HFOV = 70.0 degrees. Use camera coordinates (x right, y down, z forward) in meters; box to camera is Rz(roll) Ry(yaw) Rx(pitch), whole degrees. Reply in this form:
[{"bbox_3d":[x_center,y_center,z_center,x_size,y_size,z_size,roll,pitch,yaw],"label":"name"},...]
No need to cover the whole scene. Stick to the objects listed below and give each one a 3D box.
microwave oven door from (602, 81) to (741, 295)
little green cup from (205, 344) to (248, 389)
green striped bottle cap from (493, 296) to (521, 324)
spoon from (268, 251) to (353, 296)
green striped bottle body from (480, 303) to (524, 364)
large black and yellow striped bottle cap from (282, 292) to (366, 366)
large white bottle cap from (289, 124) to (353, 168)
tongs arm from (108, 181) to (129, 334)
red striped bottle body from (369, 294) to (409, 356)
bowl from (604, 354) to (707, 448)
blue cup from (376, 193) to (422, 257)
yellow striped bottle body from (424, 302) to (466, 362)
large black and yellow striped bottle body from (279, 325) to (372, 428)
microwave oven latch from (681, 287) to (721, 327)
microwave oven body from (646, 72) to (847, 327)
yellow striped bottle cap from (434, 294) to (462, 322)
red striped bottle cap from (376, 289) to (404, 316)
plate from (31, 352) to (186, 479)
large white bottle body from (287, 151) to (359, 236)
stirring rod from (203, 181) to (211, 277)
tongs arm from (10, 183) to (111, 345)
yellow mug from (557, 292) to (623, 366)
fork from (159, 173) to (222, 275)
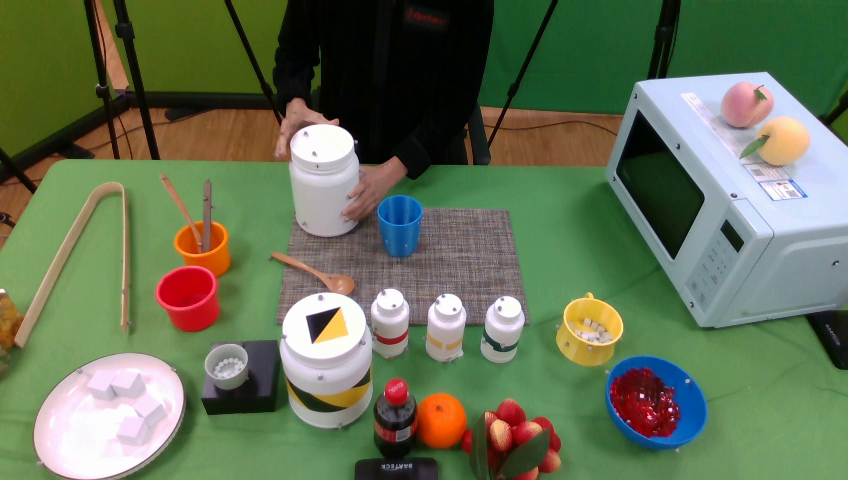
[{"bbox_3d":[0.456,-0.107,1.162,0.039,0.245,0.353,-7,47,-11],"label":"microwave oven door"},{"bbox_3d":[-0.294,0.191,0.909,0.061,0.039,0.061,1,47,-1],"label":"little green cup"},{"bbox_3d":[0.133,0.111,0.962,0.044,0.020,0.044,2,47,-2],"label":"green striped bottle cap"},{"bbox_3d":[-0.212,0.057,1.121,0.193,0.022,0.041,24,74,18],"label":"spoon"},{"bbox_3d":[0.129,0.147,1.000,0.063,0.120,0.063,2,46,-2],"label":"green striped bottle body"},{"bbox_3d":[-0.138,0.121,0.841,0.115,0.019,0.114,3,47,-3],"label":"large black and yellow striped bottle cap"},{"bbox_3d":[-0.188,-0.173,1.106,0.115,0.018,0.114,2,46,-2],"label":"large white bottle cap"},{"bbox_3d":[-0.571,0.019,1.123,0.051,0.026,0.382,-10,47,-12],"label":"tongs arm"},{"bbox_3d":[-0.059,0.134,0.997,0.063,0.120,0.062,5,48,-5],"label":"red striped bottle body"},{"bbox_3d":[0.346,0.261,0.937,0.151,0.077,0.150,2,46,-2],"label":"bowl"},{"bbox_3d":[-0.047,-0.021,1.155,0.093,0.101,0.092,1,46,-1],"label":"blue cup"},{"bbox_3d":[0.035,0.143,0.995,0.063,0.121,0.062,3,46,-3],"label":"yellow striped bottle body"},{"bbox_3d":[-0.143,0.181,0.900,0.131,0.185,0.130,2,46,-2],"label":"large black and yellow striped bottle body"},{"bbox_3d":[0.494,0.119,1.087,0.030,0.029,0.078,-5,46,-9],"label":"microwave oven latch"},{"bbox_3d":[0.607,-0.089,1.164,0.326,0.261,0.438,-7,46,-10],"label":"microwave oven body"},{"bbox_3d":[0.038,0.107,0.958,0.044,0.019,0.044,2,45,-2],"label":"yellow striped bottle cap"},{"bbox_3d":[-0.054,0.098,0.958,0.044,0.018,0.044,0,48,1],"label":"red striped bottle cap"},{"bbox_3d":[-0.459,0.262,0.898,0.209,0.038,0.208,2,46,-2],"label":"plate"},{"bbox_3d":[-0.193,-0.112,1.171,0.131,0.185,0.130,2,47,-2],"label":"large white bottle body"},{"bbox_3d":[-0.396,-0.021,1.107,0.014,0.006,0.176,-1,89,-1],"label":"stirring rod"},{"bbox_3d":[-0.658,0.027,1.109,0.028,0.028,0.385,-2,45,2],"label":"tongs arm"},{"bbox_3d":[0.285,0.145,1.051,0.100,0.064,0.130,7,45,4],"label":"yellow mug"},{"bbox_3d":[-0.427,-0.029,1.103,0.028,0.018,0.207,-31,99,-31],"label":"fork"}]
